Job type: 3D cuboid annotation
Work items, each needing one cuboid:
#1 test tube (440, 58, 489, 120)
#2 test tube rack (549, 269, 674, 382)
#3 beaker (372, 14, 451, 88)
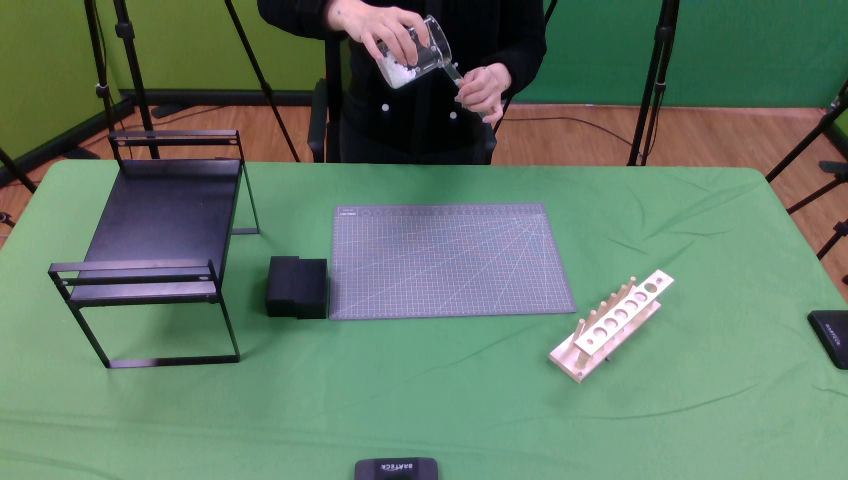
[{"bbox_3d":[0.070,-0.245,0.997,0.017,0.151,0.017,-17,55,27],"label":"test tube"},{"bbox_3d":[0.325,0.134,1.047,0.242,0.085,0.066,-32,56,-30],"label":"test tube rack"},{"bbox_3d":[-0.020,-0.278,0.912,0.100,0.084,0.073,-29,48,-3],"label":"beaker"}]
